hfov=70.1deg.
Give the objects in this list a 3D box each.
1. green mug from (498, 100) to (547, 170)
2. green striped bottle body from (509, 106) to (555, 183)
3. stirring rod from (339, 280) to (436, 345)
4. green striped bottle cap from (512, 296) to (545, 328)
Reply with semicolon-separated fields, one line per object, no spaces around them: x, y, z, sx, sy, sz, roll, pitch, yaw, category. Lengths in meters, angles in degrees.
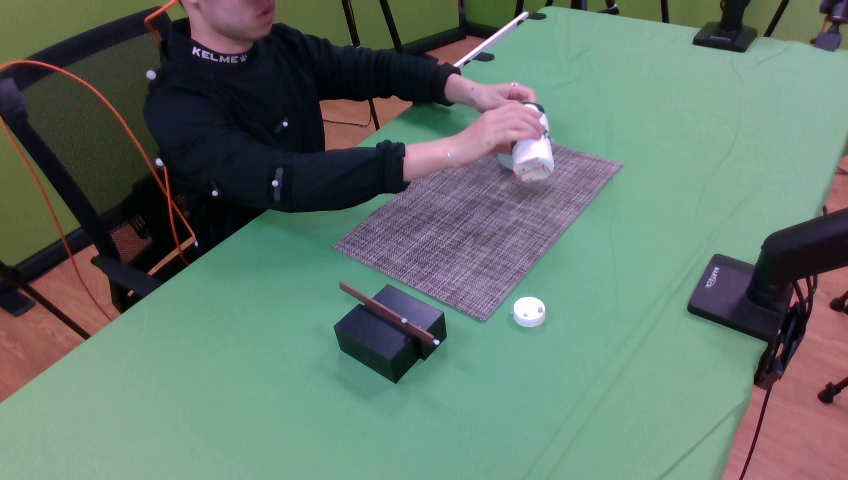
0.182;-0.197;1.101;0.092;0.105;0.125;3;42;12;green mug
0.169;-0.155;0.956;0.063;0.063;0.118;-4;60;4;green striped bottle body
-0.052;0.093;0.795;0.174;0.014;0.006;27;47;33;stirring rod
0.144;0.099;0.837;0.044;0.020;0.044;-2;44;2;green striped bottle cap
